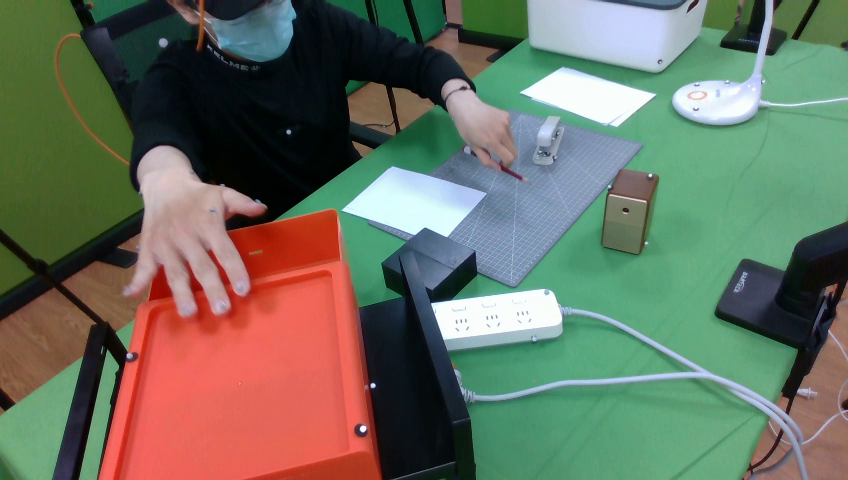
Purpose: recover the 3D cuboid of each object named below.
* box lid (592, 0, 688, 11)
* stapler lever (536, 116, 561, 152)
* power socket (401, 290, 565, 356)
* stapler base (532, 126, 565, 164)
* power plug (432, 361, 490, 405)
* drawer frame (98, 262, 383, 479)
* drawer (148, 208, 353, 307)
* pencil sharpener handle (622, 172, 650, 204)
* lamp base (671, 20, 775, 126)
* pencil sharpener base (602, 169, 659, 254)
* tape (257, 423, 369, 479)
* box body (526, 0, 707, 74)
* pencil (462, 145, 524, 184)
[{"bbox_3d":[0.441,-0.596,1.383,0.368,0.015,0.264,24,49,31],"label":"box lid"},{"bbox_3d":[0.236,-0.209,1.141,0.026,0.040,0.118,10,43,18],"label":"stapler lever"},{"bbox_3d":[0.080,0.112,0.822,0.227,0.033,0.072,-6,41,0],"label":"power socket"},{"bbox_3d":[0.238,-0.189,1.155,0.041,0.024,0.130,10,42,18],"label":"stapler base"},{"bbox_3d":[0.044,0.182,0.759,0.073,0.035,0.052,25,40,-20],"label":"power plug"},{"bbox_3d":[-0.148,0.130,0.519,0.202,0.083,0.212,-12,41,-6],"label":"drawer frame"},{"bbox_3d":[-0.167,0.074,0.591,0.195,0.073,0.210,-11,41,-5],"label":"drawer"},{"bbox_3d":[0.328,-0.086,0.940,0.036,0.068,0.030,29,49,8],"label":"pencil sharpener handle"},{"bbox_3d":[0.582,-0.332,1.153,0.179,0.181,0.160,2,41,7],"label":"lamp base"},{"bbox_3d":[0.312,-0.044,0.913,0.061,0.107,0.077,14,45,24],"label":"pencil sharpener base"},{"bbox_3d":[-0.120,0.263,0.659,0.117,0.053,0.116,-4,40,4],"label":"tape"},{"bbox_3d":[0.450,-0.540,1.430,0.361,0.161,0.255,24,50,31],"label":"box body"},{"bbox_3d":[0.117,-0.131,1.043,0.012,0.012,0.192,-23,35,-18],"label":"pencil"}]
